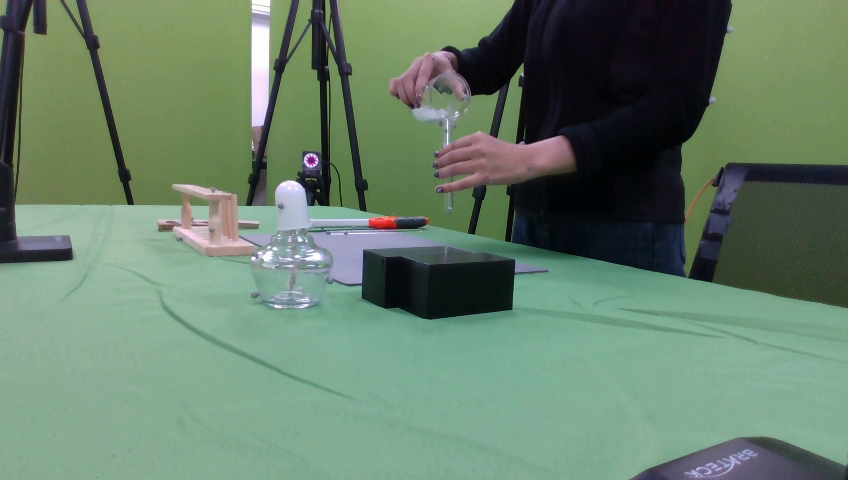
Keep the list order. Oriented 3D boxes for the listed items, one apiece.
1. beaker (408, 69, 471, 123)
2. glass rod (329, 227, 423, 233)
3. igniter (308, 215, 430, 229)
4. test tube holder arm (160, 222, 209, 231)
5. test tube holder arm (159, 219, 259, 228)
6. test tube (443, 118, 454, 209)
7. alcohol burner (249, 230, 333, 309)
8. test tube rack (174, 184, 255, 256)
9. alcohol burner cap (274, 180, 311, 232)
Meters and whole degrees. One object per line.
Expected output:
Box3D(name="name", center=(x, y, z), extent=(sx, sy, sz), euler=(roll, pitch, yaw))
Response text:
Box3D(name="beaker", center=(0.023, -0.233, 0.999), extent=(0.074, 0.084, 0.100), euler=(2, 4, -24))
Box3D(name="glass rod", center=(-0.087, -0.019, 1.148), extent=(0.201, 0.008, 0.008), euler=(-3, 8, -32))
Box3D(name="igniter", center=(-0.108, -0.037, 1.228), extent=(0.278, 0.025, 0.057), euler=(-3, -1, -35))
Box3D(name="test tube holder arm", center=(-0.423, -0.024, 1.076), extent=(0.088, 0.015, 0.010), euler=(-2, 45, -38))
Box3D(name="test tube holder arm", center=(-0.390, -0.030, 1.107), extent=(0.179, 0.015, 0.013), euler=(-3, 45, -39))
Box3D(name="test tube", center=(0.038, -0.120, 0.939), extent=(0.017, 0.150, 0.017), euler=(0, -16, 0))
Box3D(name="alcohol burner", center=(-0.125, 0.004, 0.568), extent=(0.078, 0.119, 0.078), euler=(2, 10, 0))
Box3D(name="test tube rack", center=(-0.327, -0.036, 0.928), extent=(0.067, 0.085, 0.241), euler=(-2, 9, -32))
Box3D(name="alcohol burner cap", center=(-0.125, -0.032, 0.563), extent=(0.034, 0.048, 0.034), euler=(-5, 6, 1))
